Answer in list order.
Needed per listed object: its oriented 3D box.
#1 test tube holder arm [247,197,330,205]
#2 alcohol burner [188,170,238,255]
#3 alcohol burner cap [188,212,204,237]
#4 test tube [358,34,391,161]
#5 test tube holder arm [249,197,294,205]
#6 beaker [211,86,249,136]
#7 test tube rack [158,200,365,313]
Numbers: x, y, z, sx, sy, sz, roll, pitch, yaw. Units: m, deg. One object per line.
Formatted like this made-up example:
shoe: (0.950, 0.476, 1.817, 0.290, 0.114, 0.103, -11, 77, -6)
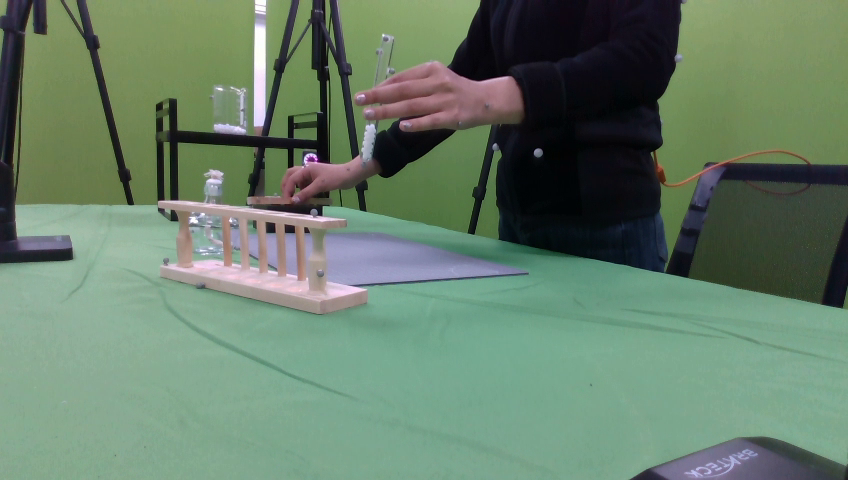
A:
test tube holder arm: (-0.251, -0.074, 1.141, 0.013, 0.015, 0.179, 10, 9, 42)
alcohol burner: (-0.298, -0.039, 0.852, 0.078, 0.119, 0.078, 3, 6, 0)
alcohol burner cap: (-0.389, -0.029, 1.025, 0.034, 0.048, 0.034, 2, 8, 0)
test tube: (-0.060, -0.168, 0.722, 0.017, 0.150, 0.017, 12, 17, -3)
test tube holder arm: (-0.278, -0.071, 1.104, 0.010, 0.015, 0.088, 11, 10, 43)
beaker: (-0.413, -0.274, 1.297, 0.074, 0.100, 0.083, -5, 11, -44)
test tube rack: (-0.173, 0.008, 0.624, 0.241, 0.085, 0.067, 7, 10, 34)
